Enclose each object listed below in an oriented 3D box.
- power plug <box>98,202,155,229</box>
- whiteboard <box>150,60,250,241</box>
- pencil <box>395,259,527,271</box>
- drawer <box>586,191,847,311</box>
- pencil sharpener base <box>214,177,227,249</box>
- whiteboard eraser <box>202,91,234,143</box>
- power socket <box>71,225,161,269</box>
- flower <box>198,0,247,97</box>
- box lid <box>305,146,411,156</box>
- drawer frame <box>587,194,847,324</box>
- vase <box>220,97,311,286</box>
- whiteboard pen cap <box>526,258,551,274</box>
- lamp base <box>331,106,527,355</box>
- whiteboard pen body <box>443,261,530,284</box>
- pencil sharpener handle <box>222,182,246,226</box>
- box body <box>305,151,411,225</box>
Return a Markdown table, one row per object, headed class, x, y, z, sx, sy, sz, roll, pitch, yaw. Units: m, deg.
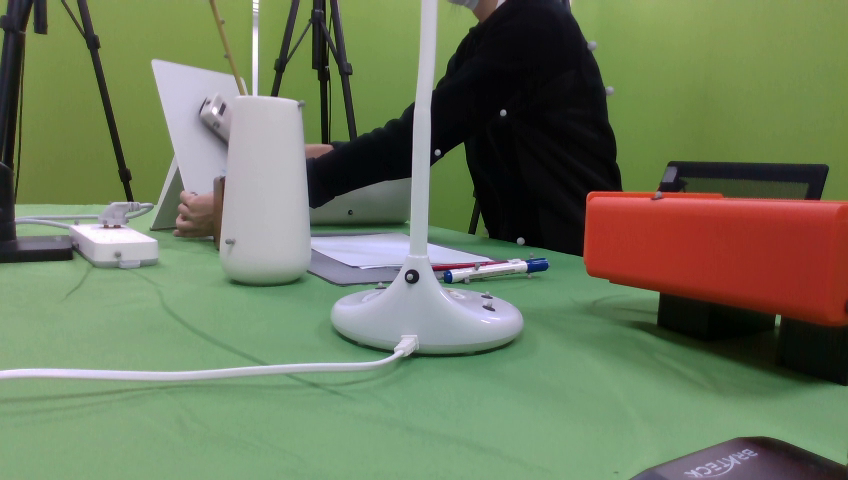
| class | x | y | z | sx | sy | sz | roll | pitch | yaw |
| --- | --- | --- | --- | --- | --- | --- | --- | --- | --- |
| power plug | -0.416 | -0.026 | 0.848 | 0.073 | 0.052 | 0.035 | 0 | 8 | -28 |
| whiteboard | -0.408 | -0.139 | 1.093 | 0.143 | 0.305 | 0.218 | -15 | -1 | 26 |
| pencil | 0.052 | 0.034 | 0.783 | 0.195 | 0.012 | 0.012 | -2 | 9 | -25 |
| drawer | 0.281 | 0.001 | 0.513 | 0.195 | 0.073 | 0.210 | -1 | 7 | -29 |
| pencil sharpener base | -0.265 | -0.037 | 0.870 | 0.061 | 0.107 | 0.076 | -2 | 8 | -29 |
| whiteboard eraser | -0.340 | -0.204 | 1.067 | 0.041 | 0.055 | 0.113 | -17 | -42 | 23 |
| power socket | -0.408 | 0.004 | 0.793 | 0.072 | 0.032 | 0.225 | -2 | 8 | -38 |
| flower | -0.187 | -0.133 | 0.648 | 0.038 | 0.362 | 0.044 | -1 | 22 | 43 |
| box lid | -0.229 | -0.200 | 1.360 | 0.373 | 0.015 | 0.262 | -3 | 9 | -33 |
| drawer frame | 0.285 | 0.004 | 0.508 | 0.203 | 0.082 | 0.212 | -1 | 6 | -29 |
| vase | -0.172 | -0.052 | 0.662 | 0.098 | 0.200 | 0.098 | 3 | 8 | 0 |
| whiteboard pen cap | 0.141 | 0.033 | 0.758 | 0.033 | 0.018 | 0.018 | -7 | 11 | -26 |
| lamp base | 0.006 | -0.012 | 0.478 | 0.161 | 0.180 | 0.179 | 2 | 10 | 2 |
| whiteboard pen body | 0.087 | 0.037 | 0.734 | 0.141 | 0.017 | 0.017 | -6 | 10 | -27 |
| pencil sharpener handle | -0.289 | -0.055 | 0.912 | 0.036 | 0.067 | 0.030 | -2 | 8 | -29 |
| box body | -0.230 | -0.126 | 1.371 | 0.366 | 0.160 | 0.253 | -2 | 9 | -33 |
